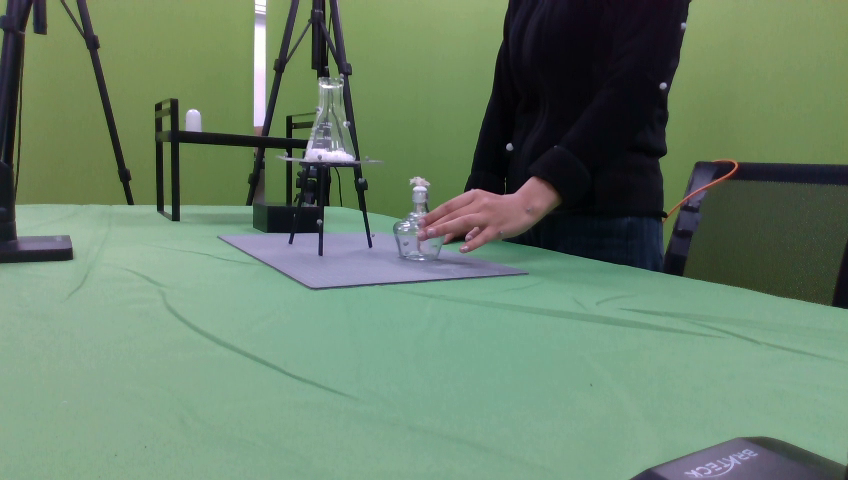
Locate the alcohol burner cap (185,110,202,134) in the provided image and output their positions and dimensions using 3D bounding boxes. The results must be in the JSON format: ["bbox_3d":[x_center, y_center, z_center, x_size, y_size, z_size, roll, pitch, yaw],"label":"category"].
[{"bbox_3d":[-0.470,-0.242,1.234,0.034,0.048,0.034,4,7,0],"label":"alcohol burner cap"}]

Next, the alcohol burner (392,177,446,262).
[{"bbox_3d":[-0.007,-0.030,0.862,0.078,0.119,0.078,2,6,0],"label":"alcohol burner"}]

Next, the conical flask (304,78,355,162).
[{"bbox_3d":[-0.139,-0.175,0.893,0.075,0.122,0.075,2,8,0],"label":"conical flask"}]

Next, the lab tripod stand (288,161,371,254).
[{"bbox_3d":[-0.148,-0.052,0.909,0.148,0.131,0.148,1,8,0],"label":"lab tripod stand"}]

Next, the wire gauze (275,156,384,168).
[{"bbox_3d":[-0.142,-0.116,0.900,0.122,0.011,0.124,-1,5,-37],"label":"wire gauze"}]
